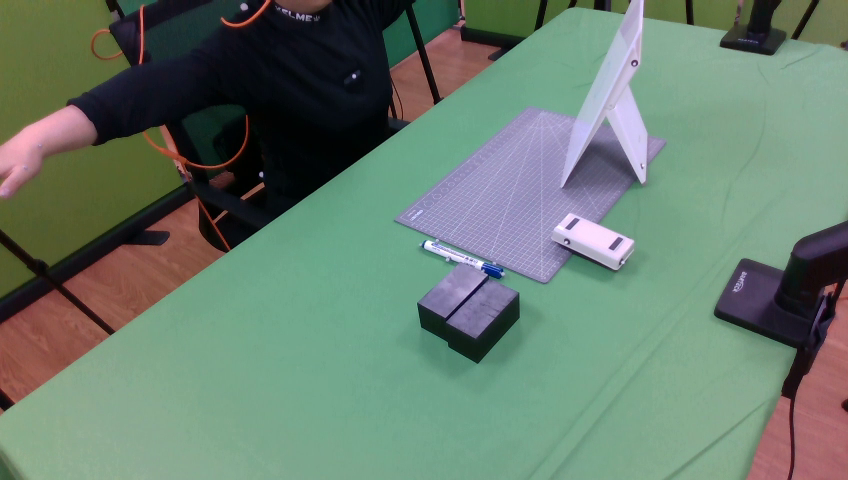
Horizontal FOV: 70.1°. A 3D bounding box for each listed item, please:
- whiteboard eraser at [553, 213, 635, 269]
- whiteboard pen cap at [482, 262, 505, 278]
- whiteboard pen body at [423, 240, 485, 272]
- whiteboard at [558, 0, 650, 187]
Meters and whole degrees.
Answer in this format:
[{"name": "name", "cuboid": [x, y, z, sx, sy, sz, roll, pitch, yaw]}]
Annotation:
[{"name": "whiteboard eraser", "cuboid": [0.257, 0.003, 0.918, 0.112, 0.042, 0.056, 27, 49, 30]}, {"name": "whiteboard pen cap", "cuboid": [0.104, 0.044, 0.912, 0.033, 0.018, 0.018, 22, 49, 29]}, {"name": "whiteboard pen body", "cuboid": [0.057, 0.027, 0.942, 0.139, 0.017, 0.017, 22, 48, 30]}, {"name": "whiteboard", "cuboid": [0.361, -0.238, 1.026, 0.144, 0.306, 0.217, 21, 44, 4]}]
